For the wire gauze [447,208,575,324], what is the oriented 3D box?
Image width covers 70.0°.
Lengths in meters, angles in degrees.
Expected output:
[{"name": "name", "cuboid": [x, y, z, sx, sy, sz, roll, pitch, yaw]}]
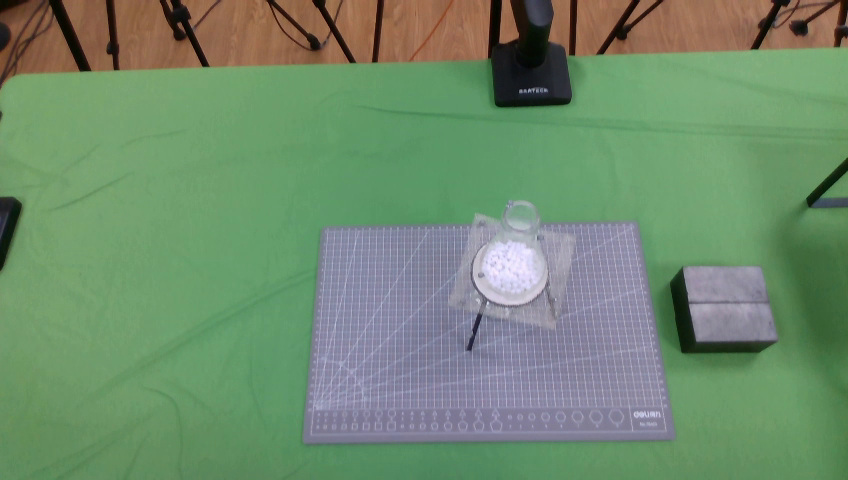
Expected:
[{"name": "wire gauze", "cuboid": [0.101, 0.028, 0.686, 0.121, 0.011, 0.124, 15, 63, 8]}]

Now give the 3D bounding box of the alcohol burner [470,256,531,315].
[{"name": "alcohol burner", "cuboid": [0.096, 0.050, 0.760, 0.078, 0.120, 0.077, -1, 65, 3]}]

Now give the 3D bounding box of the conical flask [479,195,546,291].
[{"name": "conical flask", "cuboid": [0.097, -0.001, 0.635, 0.075, 0.123, 0.074, -1, 64, 2]}]

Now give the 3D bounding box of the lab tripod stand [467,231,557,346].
[{"name": "lab tripod stand", "cuboid": [0.097, 0.055, 0.747, 0.148, 0.132, 0.147, -1, 64, 3]}]
